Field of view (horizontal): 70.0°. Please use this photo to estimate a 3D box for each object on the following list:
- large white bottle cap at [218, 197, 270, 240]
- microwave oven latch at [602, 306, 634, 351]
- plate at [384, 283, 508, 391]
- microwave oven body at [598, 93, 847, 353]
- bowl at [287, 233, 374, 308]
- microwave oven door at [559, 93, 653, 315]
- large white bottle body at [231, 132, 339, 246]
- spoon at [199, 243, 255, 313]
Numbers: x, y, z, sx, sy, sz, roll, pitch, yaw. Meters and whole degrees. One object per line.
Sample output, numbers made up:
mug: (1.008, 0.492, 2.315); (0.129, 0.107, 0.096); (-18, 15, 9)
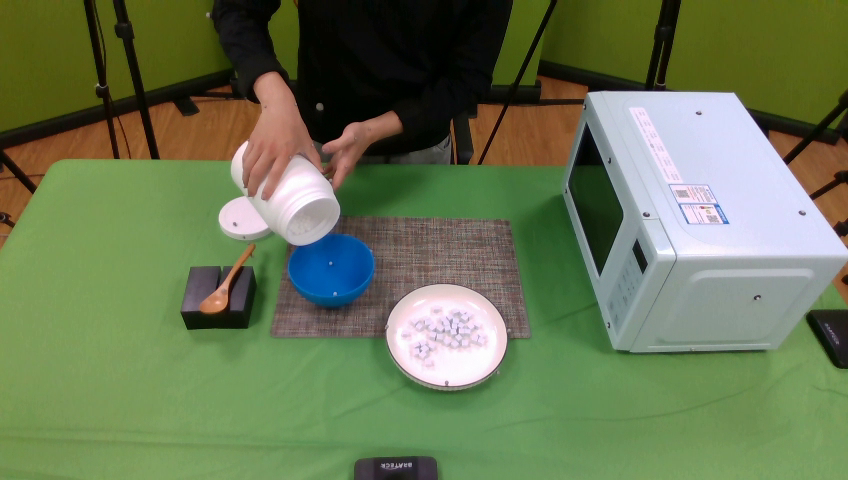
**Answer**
large white bottle cap: (-0.355, -0.045, 1.220); (0.115, 0.018, 0.114); (2, 45, -2)
microwave oven latch: (0.332, 0.153, 1.044); (0.030, 0.029, 0.078); (0, 45, -4)
plate: (0.036, 0.166, 1.029); (0.209, 0.038, 0.208); (2, 49, -2)
microwave oven body: (0.475, -0.041, 1.109); (0.326, 0.261, 0.438); (-1, 45, -4)
bowl: (-0.165, 0.068, 1.078); (0.151, 0.077, 0.150); (3, 46, -2)
microwave oven door: (0.327, -0.074, 1.123); (0.039, 0.245, 0.353); (-1, 46, -5)
large white bottle body: (-0.244, -0.089, 1.074); (0.130, 0.131, 0.183); (-27, 59, -27)
spoon: (-0.334, 0.062, 1.051); (0.041, 0.022, 0.193); (9, 40, 7)
